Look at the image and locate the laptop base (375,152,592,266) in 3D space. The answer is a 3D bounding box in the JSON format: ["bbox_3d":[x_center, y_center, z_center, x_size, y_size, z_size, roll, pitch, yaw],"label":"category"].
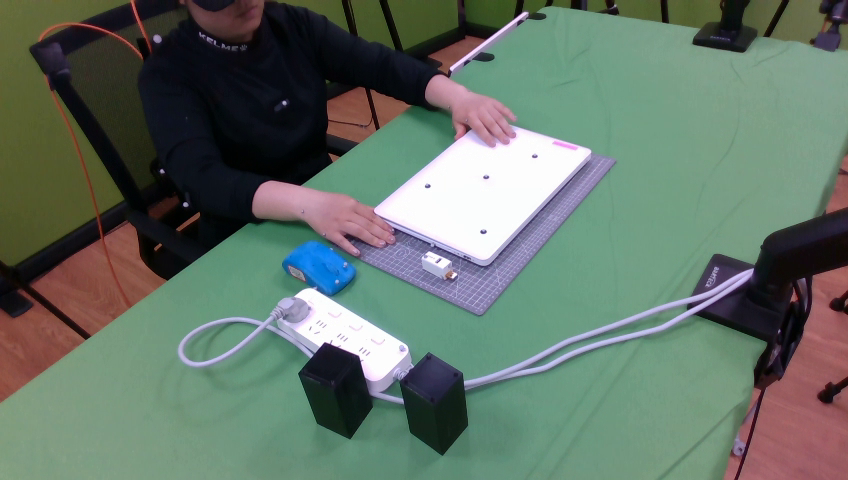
[{"bbox_3d":[0.112,-0.091,1.063,0.233,0.023,0.355,20,47,34],"label":"laptop base"}]

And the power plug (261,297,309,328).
[{"bbox_3d":[-0.192,0.107,0.831,0.073,0.053,0.035,-33,43,-24],"label":"power plug"}]

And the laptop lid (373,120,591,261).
[{"bbox_3d":[0.108,-0.105,1.053,0.240,0.013,0.358,25,50,32],"label":"laptop lid"}]

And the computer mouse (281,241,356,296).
[{"bbox_3d":[-0.164,0.041,0.934,0.116,0.041,0.063,27,48,28],"label":"computer mouse"}]

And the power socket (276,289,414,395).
[{"bbox_3d":[-0.114,0.133,0.820,0.225,0.033,0.072,25,49,33],"label":"power socket"}]

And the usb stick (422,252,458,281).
[{"bbox_3d":[0.025,0.042,0.908,0.058,0.027,0.021,27,48,32],"label":"usb stick"}]
